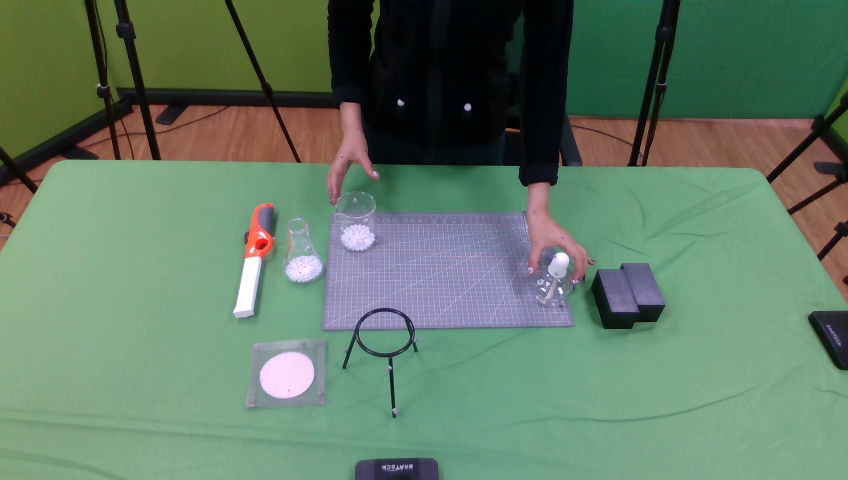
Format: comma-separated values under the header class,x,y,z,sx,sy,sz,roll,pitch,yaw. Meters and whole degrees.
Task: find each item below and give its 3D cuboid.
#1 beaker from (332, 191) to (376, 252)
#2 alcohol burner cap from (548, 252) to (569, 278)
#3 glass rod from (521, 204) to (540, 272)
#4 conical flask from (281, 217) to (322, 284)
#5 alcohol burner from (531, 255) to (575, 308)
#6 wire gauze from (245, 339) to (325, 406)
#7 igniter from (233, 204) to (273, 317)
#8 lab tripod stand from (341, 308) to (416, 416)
class,x,y,z,sx,sy,sz,roll,pitch,yaw
beaker,-0.133,-0.032,1.163,0.084,0.101,0.073,-19,50,-20
alcohol burner cap,0.238,0.042,1.060,0.034,0.048,0.033,1,53,-1
glass rod,0.215,-0.008,1.231,0.008,0.008,0.198,0,43,-3
conical flask,-0.226,0.016,1.097,0.075,0.122,0.075,2,46,-2
alcohol burner,0.235,0.066,1.087,0.078,0.119,0.077,4,45,-4
wire gauze,-0.224,0.215,0.984,0.125,0.011,0.120,-2,46,-5
igniter,-0.321,0.029,1.142,0.057,0.025,0.274,-8,46,4
lab tripod stand,-0.061,0.177,0.946,0.148,0.132,0.147,2,44,-2
